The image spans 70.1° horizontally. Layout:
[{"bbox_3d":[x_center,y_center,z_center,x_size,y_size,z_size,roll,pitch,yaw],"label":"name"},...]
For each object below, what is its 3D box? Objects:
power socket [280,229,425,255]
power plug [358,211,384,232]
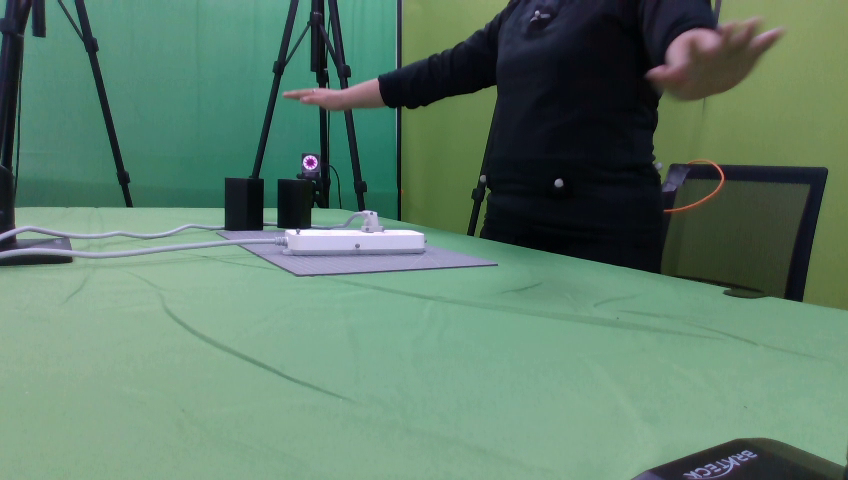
[{"bbox_3d":[-0.105,0.002,0.920,0.228,0.032,0.072,-1,7,-23],"label":"power socket"},{"bbox_3d":[-0.085,-0.020,0.958,0.035,0.052,0.072,2,5,-12],"label":"power plug"}]
